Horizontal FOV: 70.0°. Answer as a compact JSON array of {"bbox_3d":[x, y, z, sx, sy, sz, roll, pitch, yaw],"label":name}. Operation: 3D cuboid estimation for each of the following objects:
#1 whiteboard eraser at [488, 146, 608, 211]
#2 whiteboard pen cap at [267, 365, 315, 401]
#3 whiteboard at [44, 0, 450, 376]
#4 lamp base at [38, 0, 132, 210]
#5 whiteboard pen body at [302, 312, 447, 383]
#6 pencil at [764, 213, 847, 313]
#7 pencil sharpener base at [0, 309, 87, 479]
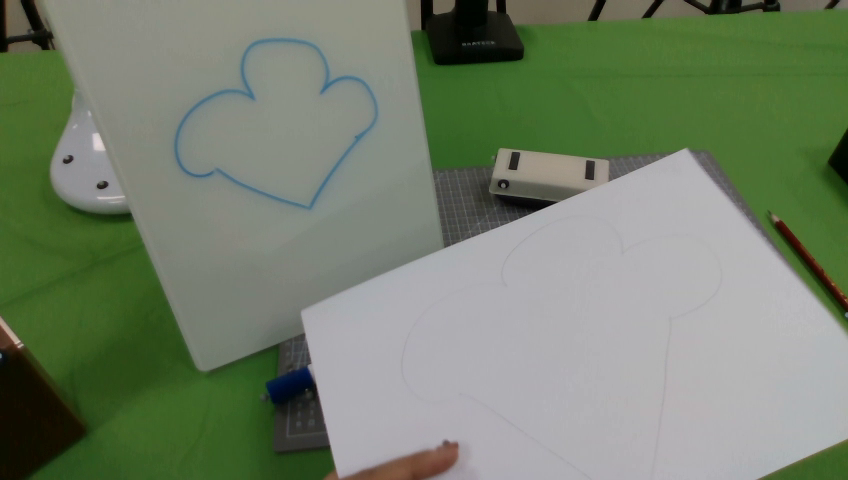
[{"bbox_3d":[0.122,-0.059,0.594,0.112,0.042,0.055,9,47,8],"label":"whiteboard eraser"},{"bbox_3d":[-0.097,0.104,0.444,0.033,0.018,0.018,-20,49,-17],"label":"whiteboard pen cap"},{"bbox_3d":[-0.124,-0.089,0.481,0.217,0.308,0.142,-20,29,-18],"label":"whiteboard"},{"bbox_3d":[-0.311,-0.146,0.581,0.178,0.182,0.160,25,50,26],"label":"lamp base"},{"bbox_3d":[-0.046,0.085,0.462,0.141,0.017,0.017,-19,48,-21],"label":"whiteboard pen body"},{"bbox_3d":[0.353,0.038,0.529,0.012,0.012,0.192,-7,44,-7],"label":"pencil"},{"bbox_3d":[-0.283,0.102,0.388,0.061,0.108,0.076,33,54,27],"label":"pencil sharpener base"}]
